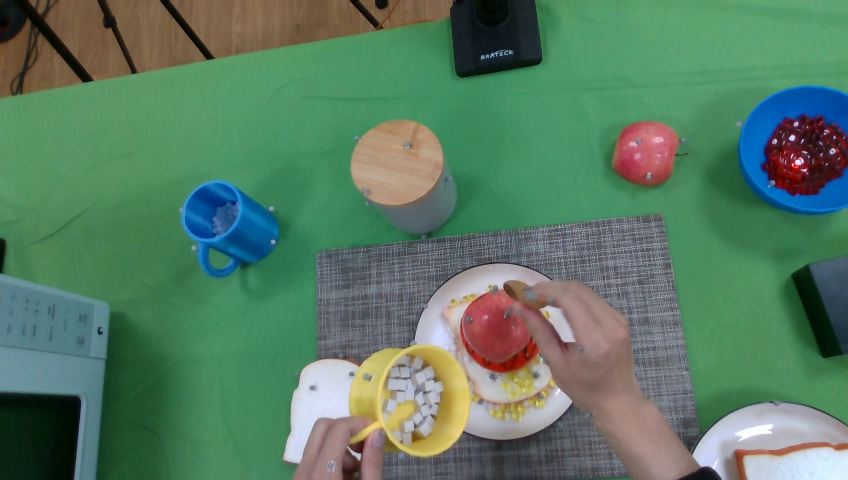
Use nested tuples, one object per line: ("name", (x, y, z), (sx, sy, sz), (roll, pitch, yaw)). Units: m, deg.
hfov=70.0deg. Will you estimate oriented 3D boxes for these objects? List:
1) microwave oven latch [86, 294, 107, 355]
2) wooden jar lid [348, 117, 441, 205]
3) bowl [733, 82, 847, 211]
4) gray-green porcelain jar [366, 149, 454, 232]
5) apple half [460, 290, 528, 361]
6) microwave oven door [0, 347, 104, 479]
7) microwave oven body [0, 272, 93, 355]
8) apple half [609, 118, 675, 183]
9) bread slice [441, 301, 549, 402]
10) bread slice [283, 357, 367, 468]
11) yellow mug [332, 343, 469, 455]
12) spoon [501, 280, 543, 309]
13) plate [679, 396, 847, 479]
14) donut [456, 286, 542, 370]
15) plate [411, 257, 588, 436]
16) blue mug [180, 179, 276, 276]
("microwave oven latch", (-0.450, 0.114, 0.816), (0.030, 0.030, 0.078), (-3, 75, 10))
("wooden jar lid", (-0.033, -0.089, 0.694), (0.108, 0.021, 0.107), (-3, 72, 8))
("bowl", (0.429, -0.096, 0.697), (0.151, 0.077, 0.150), (-3, 75, 11))
("gray-green porcelain jar", (-0.019, -0.072, 0.755), (0.105, 0.127, 0.105), (-3, 74, 11))
("apple half", (0.076, 0.092, 0.667), (0.081, 0.033, 0.081), (-5, 72, 16))
("microwave oven door", (-0.459, 0.298, 0.662), (0.039, 0.245, 0.353), (-6, 74, 10))
("microwave oven body", (-0.603, 0.274, 0.702), (0.325, 0.262, 0.439), (-6, 75, 9))
("apple half", (0.270, -0.117, 0.748), (0.074, 0.054, 0.080), (15, 79, 17))
("bread slice", (0.092, 0.126, 0.733), (0.107, 0.018, 0.133), (-23, 66, 1))
("bread slice", (-0.120, 0.211, 0.753), (0.104, 0.019, 0.131), (1, 77, 10))
("yellow mug", (-0.027, 0.156, 0.570), (0.131, 0.064, 0.100), (-25, 91, -32))
("spoon", (0.092, 0.052, 0.549), (0.041, 0.194, 0.021), (32, 93, 5))
("plate", (0.374, 0.269, 0.632), (0.209, 0.038, 0.208), (-3, 75, 11))
("donut", (0.087, 0.102, 0.701), (0.099, 0.048, 0.098), (-3, 75, 11))
("plate", (0.088, 0.125, 0.724), (0.207, 0.039, 0.206), (-3, 75, 11))
("blue mug", (-0.260, -0.009, 0.796), (0.082, 0.106, 0.116), (14, 78, 15))
